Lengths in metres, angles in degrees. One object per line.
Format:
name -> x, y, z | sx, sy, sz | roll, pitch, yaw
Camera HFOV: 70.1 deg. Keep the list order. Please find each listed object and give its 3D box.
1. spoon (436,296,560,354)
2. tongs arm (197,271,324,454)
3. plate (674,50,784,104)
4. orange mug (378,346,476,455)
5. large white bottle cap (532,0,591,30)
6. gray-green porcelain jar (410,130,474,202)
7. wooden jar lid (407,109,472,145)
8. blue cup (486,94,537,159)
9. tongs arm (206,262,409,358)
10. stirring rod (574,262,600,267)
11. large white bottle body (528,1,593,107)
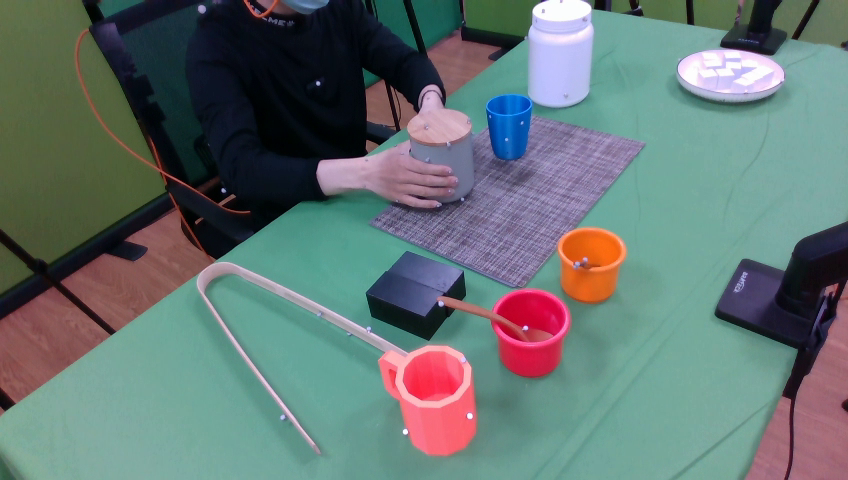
spoon -> 0.095, 0.102, 0.750 | 0.195, 0.021, 0.041 | 28, 31, -28
tongs arm -> -0.236, 0.154, 0.831 | 0.028, 0.028, 0.384 | -37, 48, -17
plate -> 0.631, -0.336, 1.262 | 0.207, 0.039, 0.206 | -4, 41, 4
orange mug -> 0.002, 0.179, 0.709 | 0.125, 0.101, 0.083 | 25, 50, 27
large white bottle cap -> 0.274, -0.450, 1.204 | 0.115, 0.018, 0.114 | -4, 41, 4
gray-green porcelain jar -> 0.033, -0.137, 1.046 | 0.106, 0.127, 0.105 | -4, 41, 4
wooden jar lid -> 0.026, -0.184, 1.006 | 0.108, 0.021, 0.108 | -1, 42, 2
blue cup -> 0.160, -0.208, 1.129 | 0.092, 0.100, 0.092 | -4, 39, 4
tongs arm -> -0.179, 0.106, 0.870 | 0.382, 0.027, 0.051 | 23, 55, 32
stirring rod -> 0.222, 0.033, 0.816 | 0.014, 0.006, 0.177 | 9, 1, 22
large white bottle body -> 0.283, -0.386, 1.259 | 0.130, 0.185, 0.130 | -5, 41, 4
